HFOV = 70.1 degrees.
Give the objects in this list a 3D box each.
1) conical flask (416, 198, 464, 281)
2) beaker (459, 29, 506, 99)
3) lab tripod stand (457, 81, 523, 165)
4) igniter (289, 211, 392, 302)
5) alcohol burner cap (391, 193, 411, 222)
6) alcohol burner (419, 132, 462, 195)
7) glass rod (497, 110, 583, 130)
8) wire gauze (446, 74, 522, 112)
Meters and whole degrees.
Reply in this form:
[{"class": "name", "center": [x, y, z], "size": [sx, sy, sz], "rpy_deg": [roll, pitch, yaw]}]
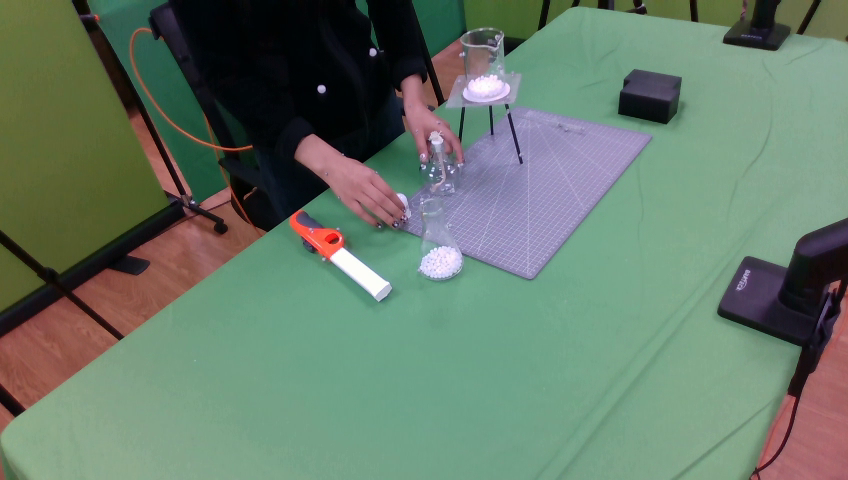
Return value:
[{"class": "conical flask", "center": [0.019, -0.004, 0.907], "size": [0.075, 0.122, 0.075], "rpy_deg": [-5, 40, 5]}, {"class": "beaker", "center": [0.107, -0.305, 1.056], "size": [0.074, 0.101, 0.083], "rpy_deg": [-27, 43, -18]}, {"class": "lab tripod stand", "center": [0.120, -0.219, 1.130], "size": [0.148, 0.132, 0.147], "rpy_deg": [-7, 39, 6]}, {"class": "igniter", "center": [-0.145, 0.019, 0.986], "size": [0.057, 0.025, 0.274], "rpy_deg": [-40, 48, -18]}, {"class": "alcohol burner cap", "center": [-0.042, -0.058, 1.041], "size": [0.034, 0.048, 0.033], "rpy_deg": [-5, 39, 5]}, {"class": "alcohol burner", "center": [0.028, -0.139, 1.068], "size": [0.078, 0.119, 0.077], "rpy_deg": [-4, 40, 4]}, {"class": "glass rod", "center": [0.233, -0.245, 1.235], "size": [0.198, 0.008, 0.008], "rpy_deg": [20, 49, 35]}, {"class": "wire gauze", "center": [0.110, -0.268, 1.087], "size": [0.121, 0.011, 0.125], "rpy_deg": [1, 42, 15]}]
